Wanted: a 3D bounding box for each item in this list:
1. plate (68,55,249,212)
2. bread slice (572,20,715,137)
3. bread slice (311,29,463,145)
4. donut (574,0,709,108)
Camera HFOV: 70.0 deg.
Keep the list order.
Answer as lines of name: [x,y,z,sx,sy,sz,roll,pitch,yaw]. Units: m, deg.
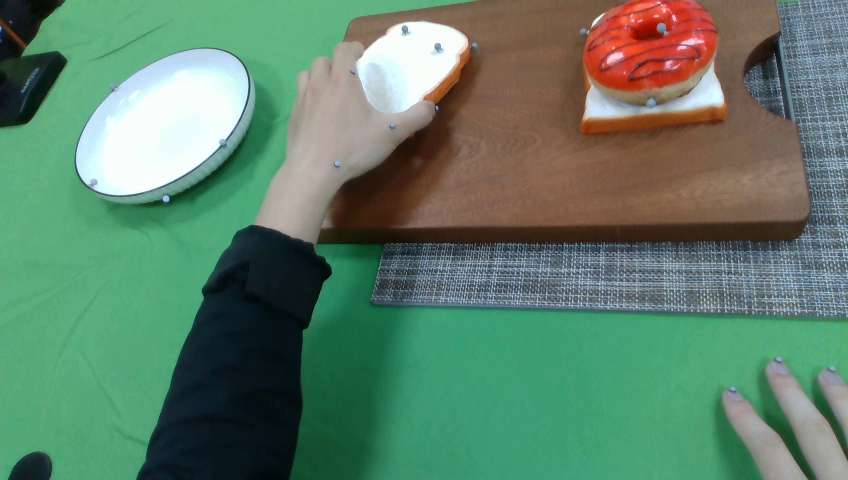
plate: [-0.279,-0.113,0.652,0.209,0.038,0.207,-9,56,14]
bread slice: [0.173,-0.142,0.497,0.104,0.019,0.130,-3,59,15]
bread slice: [-0.028,-0.146,0.560,0.106,0.018,0.134,19,62,26]
donut: [0.165,-0.145,0.465,0.099,0.049,0.098,-10,56,15]
